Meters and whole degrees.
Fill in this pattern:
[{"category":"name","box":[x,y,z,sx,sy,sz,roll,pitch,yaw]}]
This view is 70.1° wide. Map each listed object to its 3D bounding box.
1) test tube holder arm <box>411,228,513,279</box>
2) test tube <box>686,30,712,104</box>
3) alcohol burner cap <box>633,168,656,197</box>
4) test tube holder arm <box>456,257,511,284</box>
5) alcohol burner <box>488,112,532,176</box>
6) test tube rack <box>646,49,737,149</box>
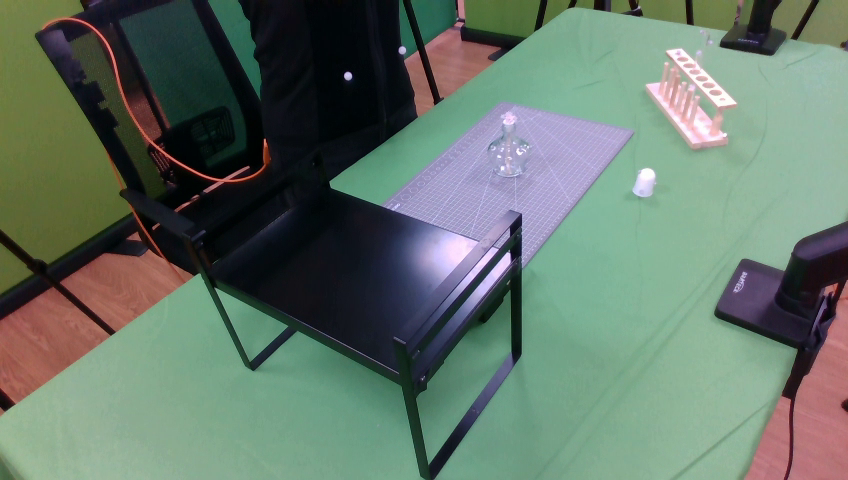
[{"category":"test tube holder arm","box":[0.051,0.018,0.870,0.177,0.015,0.013,26,84,33]},{"category":"test tube","box":[0.521,-0.325,1.150,0.017,0.151,0.017,-3,45,4]},{"category":"alcohol burner cap","box":[0.374,-0.099,1.018,0.034,0.048,0.033,0,41,1]},{"category":"test tube holder arm","box":[0.082,0.039,0.845,0.087,0.015,0.010,27,84,33]},{"category":"alcohol burner","box":[0.154,-0.176,1.083,0.078,0.119,0.077,-3,41,3]},{"category":"test tube rack","box":[0.511,-0.280,1.175,0.067,0.085,0.241,-8,41,1]}]
